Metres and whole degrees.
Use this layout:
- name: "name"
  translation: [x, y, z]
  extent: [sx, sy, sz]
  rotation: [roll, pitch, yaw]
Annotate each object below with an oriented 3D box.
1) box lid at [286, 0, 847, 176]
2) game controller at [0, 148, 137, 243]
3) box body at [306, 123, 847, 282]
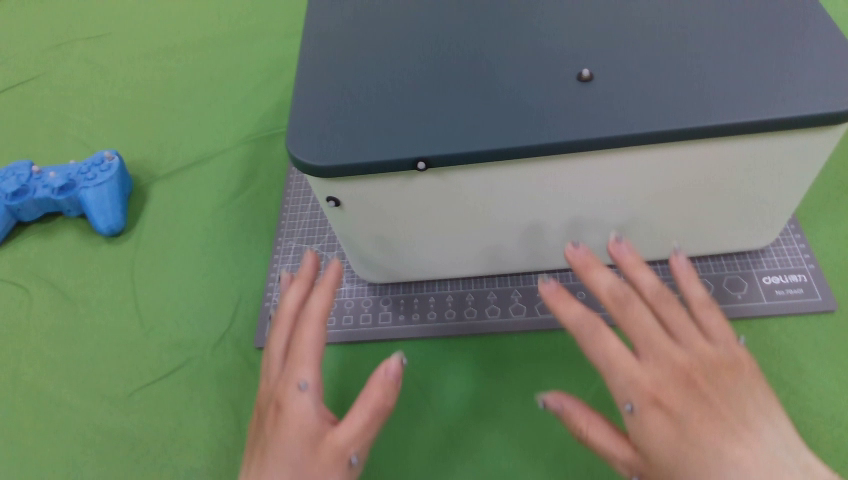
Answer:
- name: "box lid"
  translation: [0.089, -0.159, 0.444]
  extent: [0.371, 0.015, 0.260]
  rotation: [-5, 52, 5]
- name: "game controller"
  translation: [-0.363, -0.048, 0.599]
  extent: [0.155, 0.052, 0.096]
  rotation: [-5, 49, 4]
- name: "box body"
  translation: [0.101, -0.114, 0.502]
  extent: [0.364, 0.162, 0.251]
  rotation: [-5, 52, 5]
